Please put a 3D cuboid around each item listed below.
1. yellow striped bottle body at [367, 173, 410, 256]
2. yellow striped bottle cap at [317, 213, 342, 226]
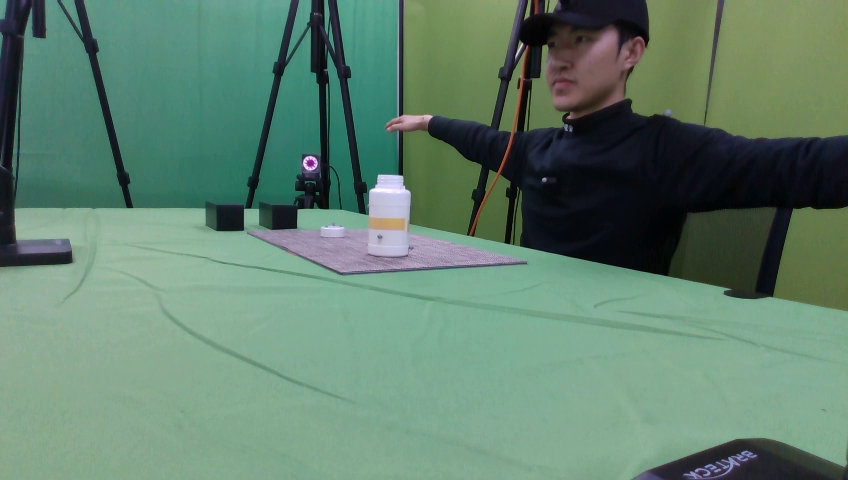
[{"bbox_3d":[-0.052,-0.040,0.901,0.063,0.120,0.063,2,7,0],"label":"yellow striped bottle body"},{"bbox_3d":[-0.171,-0.038,1.102,0.044,0.018,0.044,-4,13,1],"label":"yellow striped bottle cap"}]
